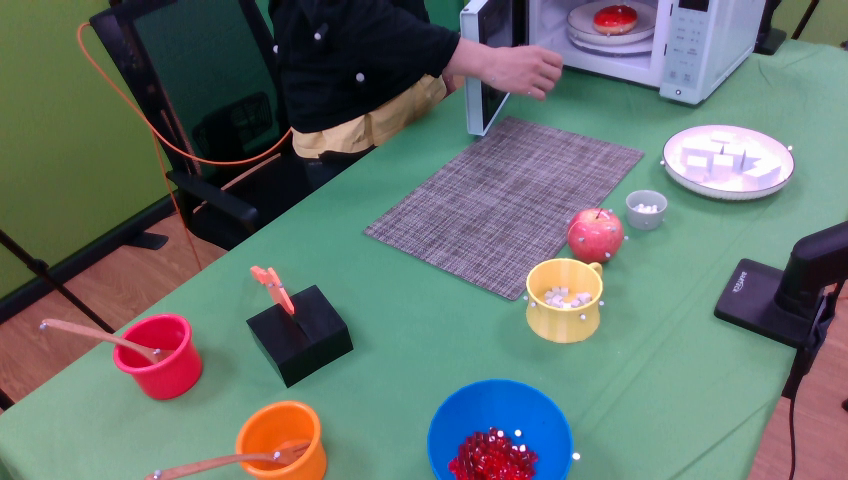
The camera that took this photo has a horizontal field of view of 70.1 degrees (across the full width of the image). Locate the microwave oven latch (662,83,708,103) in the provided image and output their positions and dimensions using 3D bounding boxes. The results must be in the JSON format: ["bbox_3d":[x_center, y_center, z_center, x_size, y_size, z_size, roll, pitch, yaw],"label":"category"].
[{"bbox_3d":[0.517,-0.296,1.204,0.078,0.029,0.030,27,52,35],"label":"microwave oven latch"}]

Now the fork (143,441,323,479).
[{"bbox_3d":[-0.189,0.231,0.631,0.028,0.018,0.209,35,13,37],"label":"fork"}]

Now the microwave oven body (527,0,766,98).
[{"bbox_3d":[0.472,-0.513,1.317,0.438,0.261,0.327,25,51,34],"label":"microwave oven body"}]

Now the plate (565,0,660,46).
[{"bbox_3d":[0.427,-0.489,1.377,0.209,0.038,0.208,-5,40,4],"label":"plate"}]

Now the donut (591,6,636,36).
[{"bbox_3d":[0.427,-0.496,1.366,0.099,0.048,0.098,-6,40,6],"label":"donut"}]

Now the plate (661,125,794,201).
[{"bbox_3d":[0.513,-0.128,1.035,0.207,0.039,0.206,-4,40,4],"label":"plate"}]

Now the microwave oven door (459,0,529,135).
[{"bbox_3d":[0.153,-0.410,1.237,0.039,0.245,0.356,11,44,20],"label":"microwave oven door"}]

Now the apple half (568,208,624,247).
[{"bbox_3d":[0.259,-0.014,0.914,0.080,0.075,0.053,0,36,15],"label":"apple half"}]

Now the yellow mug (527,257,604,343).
[{"bbox_3d":[0.201,0.072,0.825,0.131,0.064,0.099,-32,46,-27],"label":"yellow mug"}]

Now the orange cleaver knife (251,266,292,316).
[{"bbox_3d":[-0.221,0.071,0.873,0.012,0.077,0.210,-25,11,-21],"label":"orange cleaver knife"}]

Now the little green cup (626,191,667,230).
[{"bbox_3d":[0.352,-0.046,0.963,0.061,0.039,0.061,-4,40,4],"label":"little green cup"}]

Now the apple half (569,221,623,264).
[{"bbox_3d":[0.251,0.010,0.884,0.081,0.081,0.032,3,37,12],"label":"apple half"}]

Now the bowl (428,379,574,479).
[{"bbox_3d":[0.082,0.233,0.644,0.151,0.077,0.150,-4,39,4],"label":"bowl"}]

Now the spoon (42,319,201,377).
[{"bbox_3d":[-0.385,0.135,0.779,0.195,0.021,0.041,29,37,-26],"label":"spoon"}]
